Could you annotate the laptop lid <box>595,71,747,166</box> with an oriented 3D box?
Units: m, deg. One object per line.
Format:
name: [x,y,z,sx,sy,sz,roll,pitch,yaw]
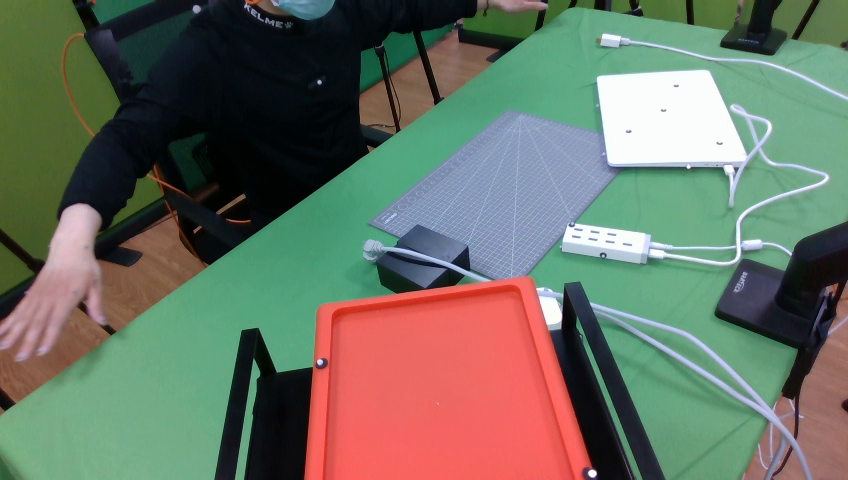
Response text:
laptop lid: [0.465,-0.248,1.181,0.241,0.013,0.355,1,41,12]

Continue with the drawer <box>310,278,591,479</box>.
drawer: [0.013,0.137,0.489,0.195,0.073,0.210,-7,41,0]

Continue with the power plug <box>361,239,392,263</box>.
power plug: [-0.070,0.024,0.930,0.072,0.053,0.035,31,82,41]

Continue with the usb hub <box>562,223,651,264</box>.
usb hub: [0.279,0.004,0.926,0.124,0.025,0.049,10,43,19]

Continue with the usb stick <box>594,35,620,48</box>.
usb stick: [0.443,-0.482,1.466,0.059,0.021,0.027,9,43,10]

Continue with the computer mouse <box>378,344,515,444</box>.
computer mouse: [0.018,0.126,0.520,0.116,0.041,0.063,13,47,29]

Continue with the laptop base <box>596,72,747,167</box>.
laptop base: [0.469,-0.239,1.188,0.235,0.023,0.353,-1,40,11]

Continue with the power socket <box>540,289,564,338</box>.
power socket: [0.080,0.112,0.822,0.227,0.033,0.072,-7,41,-1]

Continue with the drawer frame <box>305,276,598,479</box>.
drawer frame: [0.014,0.137,0.486,0.202,0.083,0.212,-8,41,-1]
